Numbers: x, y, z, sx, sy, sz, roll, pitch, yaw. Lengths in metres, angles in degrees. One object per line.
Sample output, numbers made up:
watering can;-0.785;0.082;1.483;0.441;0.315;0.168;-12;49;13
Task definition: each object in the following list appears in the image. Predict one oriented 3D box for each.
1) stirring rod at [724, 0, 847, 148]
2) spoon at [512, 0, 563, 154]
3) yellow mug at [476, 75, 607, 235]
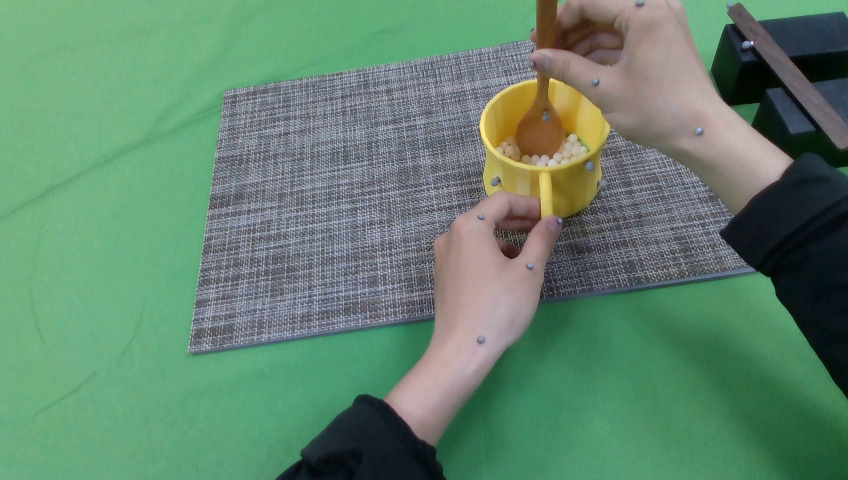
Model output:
stirring rod;0.286;-0.139;0.483;0.014;0.006;0.174;-35;50;28
spoon;0.084;-0.120;0.437;0.041;0.195;0.021;2;68;9
yellow mug;0.093;-0.064;0.484;0.100;0.064;0.129;-2;56;8
